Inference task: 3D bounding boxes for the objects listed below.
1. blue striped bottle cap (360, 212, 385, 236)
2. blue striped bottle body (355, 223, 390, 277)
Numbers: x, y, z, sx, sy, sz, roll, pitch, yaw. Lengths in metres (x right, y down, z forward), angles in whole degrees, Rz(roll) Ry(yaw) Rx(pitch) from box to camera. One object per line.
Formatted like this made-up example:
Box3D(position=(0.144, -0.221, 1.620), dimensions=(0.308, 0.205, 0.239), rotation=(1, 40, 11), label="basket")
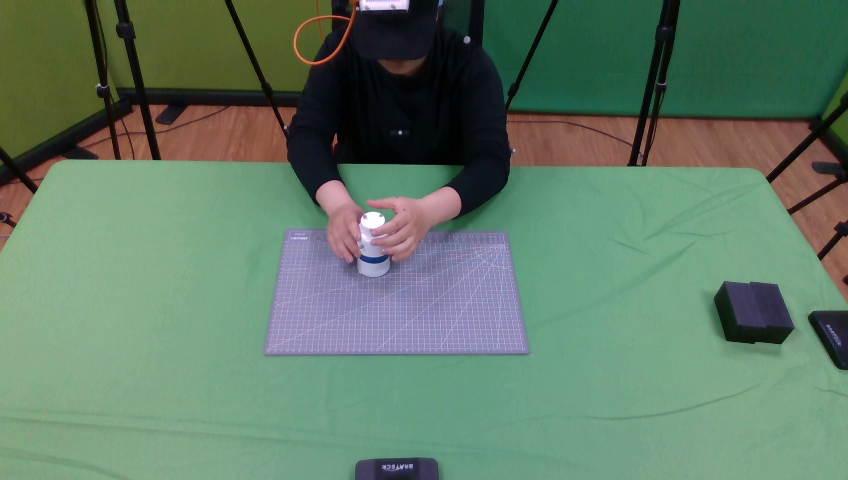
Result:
Box3D(position=(-0.091, -0.029, 1.074), dimensions=(0.044, 0.021, 0.044), rotation=(1, 43, 0), label="blue striped bottle cap")
Box3D(position=(-0.094, 0.007, 1.112), dimensions=(0.063, 0.121, 0.062), rotation=(2, 46, -2), label="blue striped bottle body")
